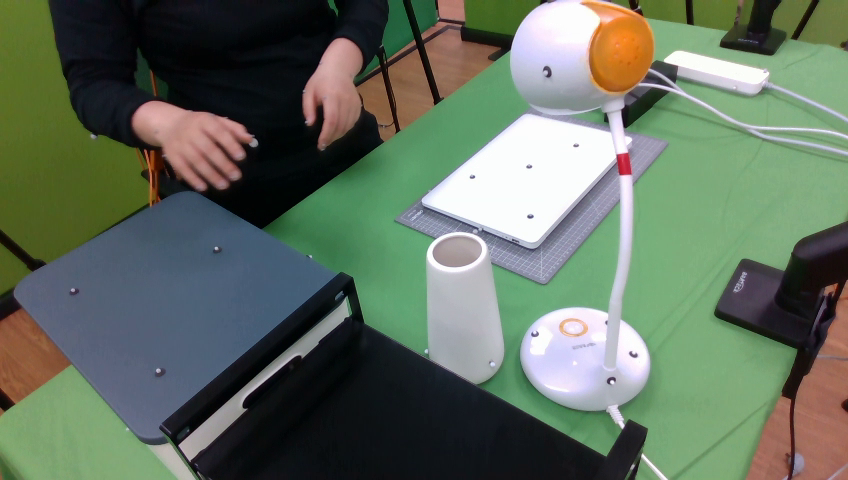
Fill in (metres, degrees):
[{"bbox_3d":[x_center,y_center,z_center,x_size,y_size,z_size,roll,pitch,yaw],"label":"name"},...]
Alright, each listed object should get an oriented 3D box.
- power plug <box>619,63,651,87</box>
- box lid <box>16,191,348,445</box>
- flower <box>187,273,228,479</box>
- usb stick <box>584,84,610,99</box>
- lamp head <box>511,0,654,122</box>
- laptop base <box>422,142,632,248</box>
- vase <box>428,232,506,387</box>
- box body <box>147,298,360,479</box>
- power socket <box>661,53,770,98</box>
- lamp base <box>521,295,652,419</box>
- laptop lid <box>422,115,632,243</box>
[{"bbox_3d":[0.435,-0.341,1.265,0.035,0.053,0.072,5,30,-14],"label":"power plug"},{"bbox_3d":[-0.295,0.062,0.723,0.368,0.015,0.264,26,51,34],"label":"box lid"},{"bbox_3d":[-0.283,0.161,0.819,0.044,0.038,0.359,10,34,-22],"label":"flower"},{"bbox_3d":[0.353,-0.306,1.252,0.027,0.021,0.058,-2,1,-39],"label":"usb stick"},{"bbox_3d":[0.155,-0.168,0.563,0.113,0.113,0.122,-18,23,-12],"label":"lamp head"},{"bbox_3d":[0.192,-0.117,1.087,0.233,0.023,0.355,21,47,35],"label":"laptop base"},{"bbox_3d":[0.050,0.087,0.728,0.098,0.201,0.097,-3,40,3],"label":"vase"},{"bbox_3d":[-0.288,0.118,0.772,0.361,0.161,0.255,26,50,33],"label":"box body"},{"bbox_3d":[0.616,-0.355,1.292,0.225,0.033,0.072,29,53,35],"label":"power socket"},{"bbox_3d":[0.200,0.095,0.710,0.161,0.181,0.178,-16,43,-10],"label":"lamp base"},{"bbox_3d":[0.189,-0.126,1.081,0.239,0.013,0.358,23,48,35],"label":"laptop lid"}]
